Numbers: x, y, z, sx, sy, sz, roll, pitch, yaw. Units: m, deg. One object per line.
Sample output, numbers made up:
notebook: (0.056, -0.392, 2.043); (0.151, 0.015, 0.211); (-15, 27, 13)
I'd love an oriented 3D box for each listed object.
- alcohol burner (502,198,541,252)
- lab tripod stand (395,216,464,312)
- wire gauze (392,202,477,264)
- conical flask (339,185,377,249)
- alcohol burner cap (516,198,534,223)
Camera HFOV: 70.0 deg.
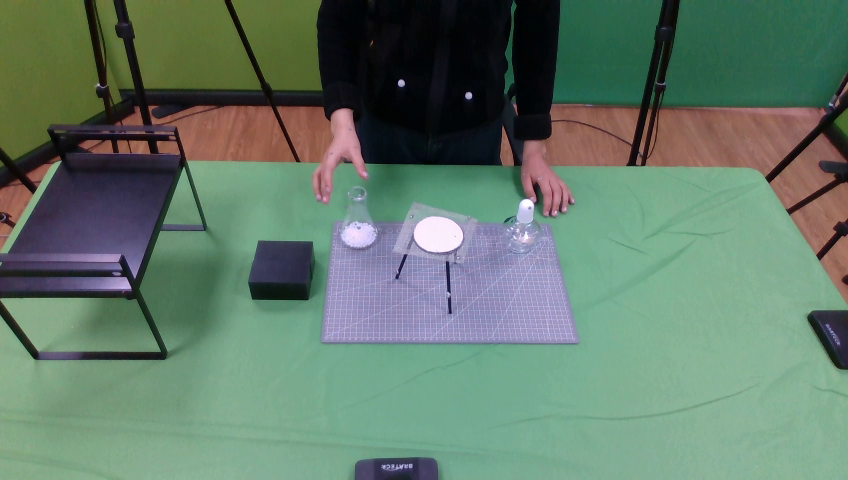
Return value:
alcohol burner: (0.192, -0.033, 1.178); (0.078, 0.119, 0.077); (2, 44, -2)
lab tripod stand: (0.023, 0.036, 1.084); (0.148, 0.132, 0.147); (4, 46, -4)
wire gauze: (0.021, -0.011, 1.036); (0.121, 0.011, 0.124); (14, 47, 8)
conical flask: (-0.128, -0.048, 1.160); (0.075, 0.122, 0.075); (2, 46, -2)
alcohol burner cap: (0.194, -0.059, 1.152); (0.034, 0.048, 0.033); (0, 50, 1)
